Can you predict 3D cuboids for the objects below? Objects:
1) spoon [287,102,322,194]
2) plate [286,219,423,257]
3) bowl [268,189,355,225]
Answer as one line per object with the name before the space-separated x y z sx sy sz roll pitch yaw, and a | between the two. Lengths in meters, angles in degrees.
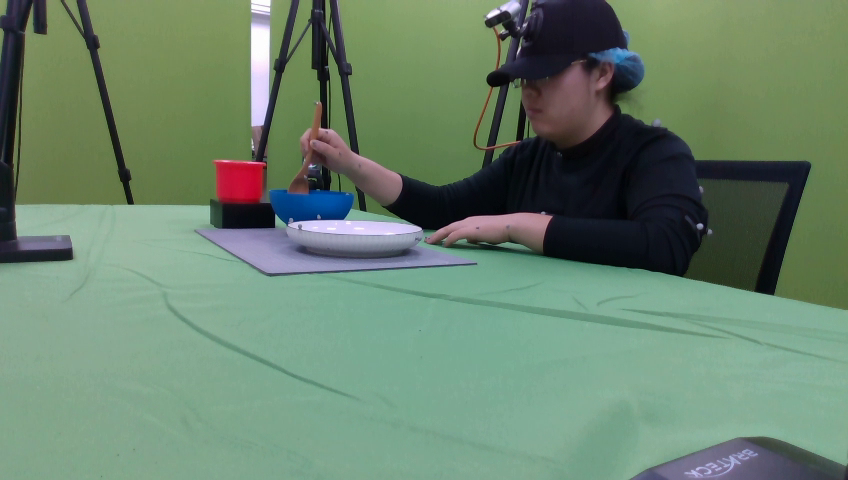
spoon | -0.210 -0.154 1.096 0.042 0.193 0.021 10 13 -35
plate | -0.105 -0.003 0.922 0.208 0.039 0.207 3 7 0
bowl | -0.201 -0.048 1.078 0.151 0.077 0.151 3 7 0
